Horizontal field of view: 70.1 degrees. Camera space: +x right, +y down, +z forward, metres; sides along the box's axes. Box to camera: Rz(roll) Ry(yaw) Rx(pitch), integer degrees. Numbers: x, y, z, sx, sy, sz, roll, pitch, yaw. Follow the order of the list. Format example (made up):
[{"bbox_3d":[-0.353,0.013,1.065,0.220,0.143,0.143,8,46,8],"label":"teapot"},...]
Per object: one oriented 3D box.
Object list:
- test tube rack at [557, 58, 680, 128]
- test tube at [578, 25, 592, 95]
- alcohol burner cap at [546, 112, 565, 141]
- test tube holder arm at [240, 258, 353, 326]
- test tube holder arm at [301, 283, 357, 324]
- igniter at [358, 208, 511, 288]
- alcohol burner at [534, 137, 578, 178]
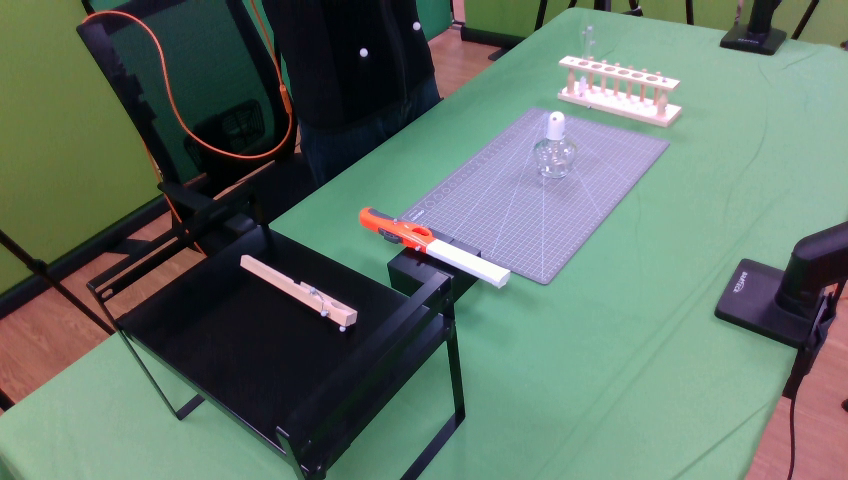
[{"bbox_3d":[0.395,-0.309,1.230,0.240,0.085,0.067,25,50,33],"label":"test tube rack"},{"bbox_3d":[0.326,-0.362,1.227,0.017,0.151,0.017,-3,44,4],"label":"test tube"},{"bbox_3d":[0.229,-0.198,1.042,0.034,0.048,0.033,-3,39,3],"label":"alcohol burner cap"},{"bbox_3d":[-0.143,0.053,0.658,0.177,0.015,0.013,21,14,32],"label":"test tube holder arm"},{"bbox_3d":[-0.105,0.066,0.638,0.087,0.015,0.010,22,14,33],"label":"test tube holder arm"},{"bbox_3d":[0.005,0.005,0.892,0.274,0.025,0.057,24,38,31],"label":"igniter"},{"bbox_3d":[0.232,-0.170,1.065,0.078,0.119,0.077,-5,39,5],"label":"alcohol burner"}]
